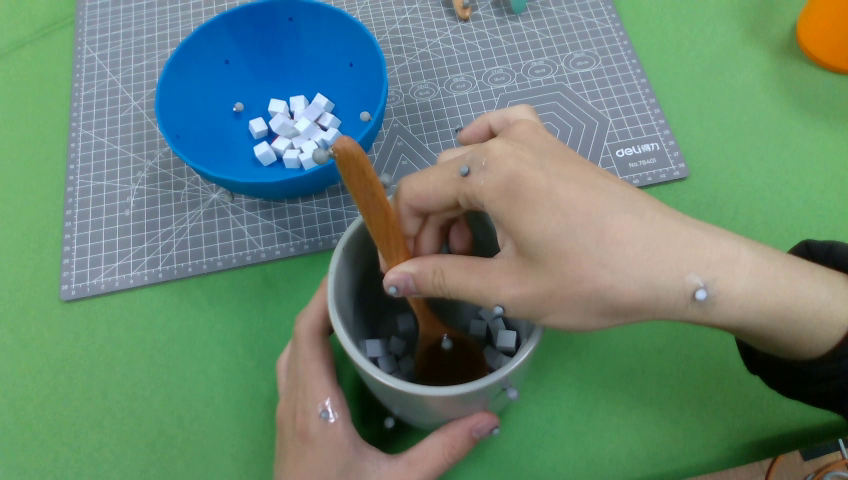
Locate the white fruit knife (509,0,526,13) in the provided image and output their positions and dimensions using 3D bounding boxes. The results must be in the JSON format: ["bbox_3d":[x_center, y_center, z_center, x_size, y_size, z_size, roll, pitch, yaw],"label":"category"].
[{"bbox_3d":[0.056,-0.292,0.514,0.016,0.027,0.206,-12,79,-5],"label":"white fruit knife"}]

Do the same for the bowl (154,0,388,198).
[{"bbox_3d":[-0.096,-0.085,0.423,0.151,0.077,0.150,-1,65,2],"label":"bowl"}]

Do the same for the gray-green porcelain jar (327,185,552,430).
[{"bbox_3d":[0.010,0.046,0.335,0.106,0.127,0.105,-1,65,3],"label":"gray-green porcelain jar"}]

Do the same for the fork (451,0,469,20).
[{"bbox_3d":[0.008,-0.284,0.510,0.028,0.018,0.206,-14,84,-10],"label":"fork"}]
